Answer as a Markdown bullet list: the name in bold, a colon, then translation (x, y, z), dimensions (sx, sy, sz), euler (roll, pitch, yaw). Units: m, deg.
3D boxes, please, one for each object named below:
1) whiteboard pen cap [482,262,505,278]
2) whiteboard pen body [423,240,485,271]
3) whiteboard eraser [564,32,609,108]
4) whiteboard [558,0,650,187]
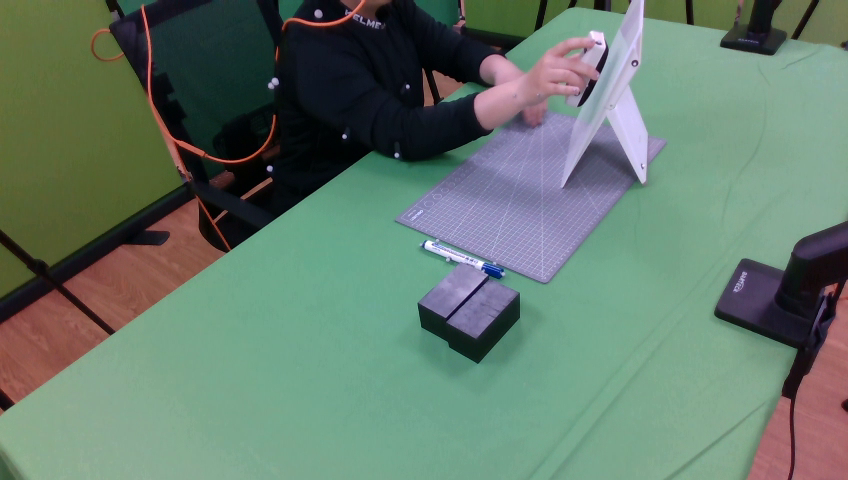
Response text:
- **whiteboard pen cap**: translation (0.104, 0.044, 0.912), dimensions (0.033, 0.018, 0.018), euler (21, 48, 29)
- **whiteboard pen body**: translation (0.057, 0.027, 0.942), dimensions (0.139, 0.017, 0.017), euler (21, 48, 30)
- **whiteboard eraser**: translation (0.266, -0.276, 0.987), dimensions (0.042, 0.113, 0.055), euler (16, 45, -1)
- **whiteboard**: translation (0.362, -0.238, 1.026), dimensions (0.144, 0.306, 0.217), euler (21, 44, 4)
